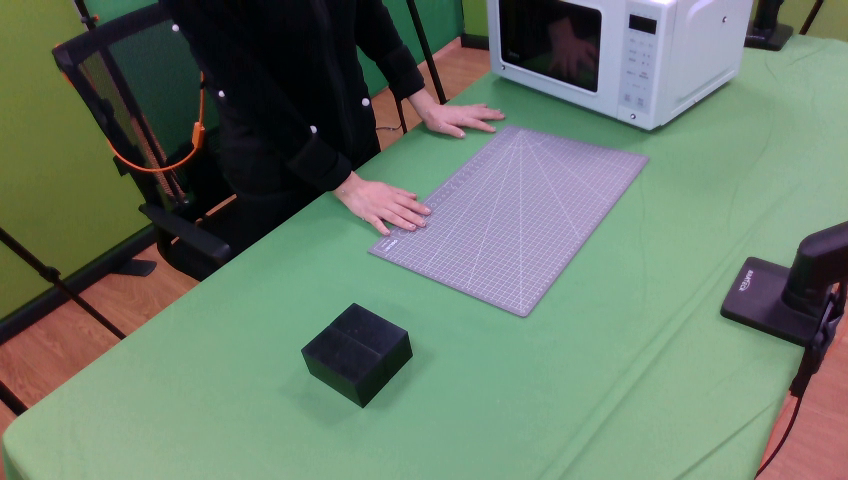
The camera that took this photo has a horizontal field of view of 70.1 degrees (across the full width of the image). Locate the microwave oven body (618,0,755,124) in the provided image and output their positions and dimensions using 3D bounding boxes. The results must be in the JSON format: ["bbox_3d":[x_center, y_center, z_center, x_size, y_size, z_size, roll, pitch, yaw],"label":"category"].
[{"bbox_3d":[0.402,-0.458,1.259,0.327,0.261,0.437,-33,45,-24],"label":"microwave oven body"}]

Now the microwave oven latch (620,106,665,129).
[{"bbox_3d":[0.412,-0.237,1.146,0.030,0.029,0.078,-32,44,-23],"label":"microwave oven latch"}]

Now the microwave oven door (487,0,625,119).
[{"bbox_3d":[0.262,-0.409,1.221,0.039,0.245,0.352,-33,45,-25],"label":"microwave oven door"}]
